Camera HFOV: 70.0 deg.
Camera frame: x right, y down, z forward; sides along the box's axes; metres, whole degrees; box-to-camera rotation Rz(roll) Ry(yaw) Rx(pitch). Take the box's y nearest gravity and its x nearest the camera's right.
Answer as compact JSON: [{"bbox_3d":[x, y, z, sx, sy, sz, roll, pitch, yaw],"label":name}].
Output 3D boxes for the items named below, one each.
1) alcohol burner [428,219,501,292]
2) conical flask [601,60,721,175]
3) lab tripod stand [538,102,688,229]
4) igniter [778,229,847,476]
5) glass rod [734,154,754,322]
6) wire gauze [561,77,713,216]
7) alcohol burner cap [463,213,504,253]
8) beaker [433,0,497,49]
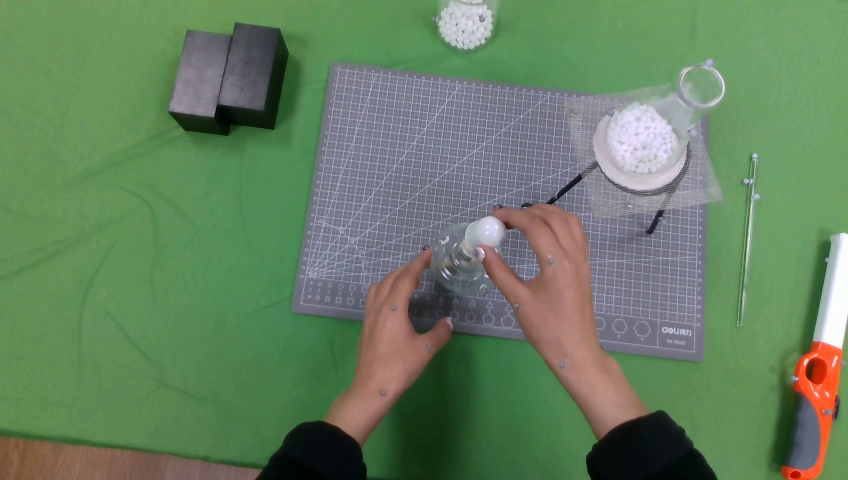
[{"bbox_3d":[0.043,0.013,0.618,0.078,0.119,0.077,1,79,-3],"label":"alcohol burner"},{"bbox_3d":[0.202,-0.106,0.511,0.075,0.122,0.075,0,80,-1],"label":"conical flask"},{"bbox_3d":[0.200,-0.072,0.631,0.148,0.132,0.148,0,79,-1],"label":"lab tripod stand"},{"bbox_3d":[0.429,0.120,0.655,0.057,0.025,0.275,21,78,-8],"label":"igniter"},{"bbox_3d":[0.364,-0.005,0.689,0.008,0.008,0.199,11,78,0],"label":"glass rod"},{"bbox_3d":[0.200,-0.088,0.567,0.125,0.011,0.121,-9,81,-5],"label":"wire gauze"},{"bbox_3d":[0.055,-0.008,0.537,0.034,0.048,0.033,2,80,-10],"label":"alcohol burner cap"},{"bbox_3d":[0.049,-0.273,0.689,0.084,0.100,0.073,-33,81,-9],"label":"beaker"}]
